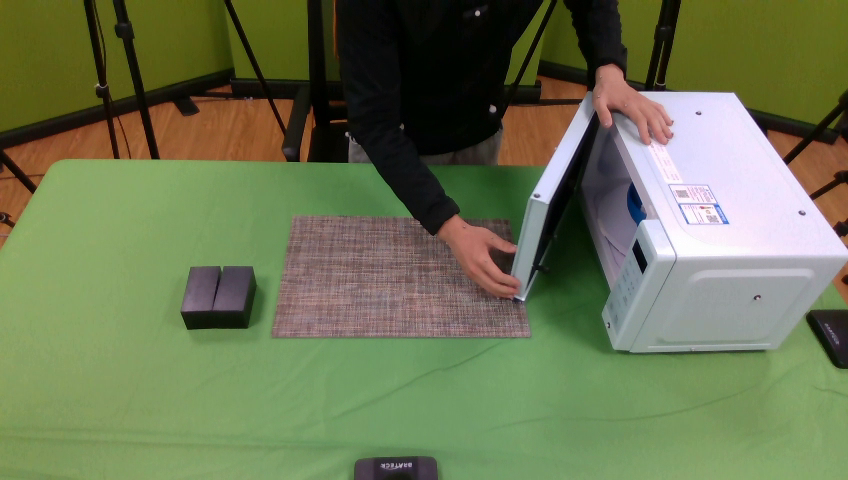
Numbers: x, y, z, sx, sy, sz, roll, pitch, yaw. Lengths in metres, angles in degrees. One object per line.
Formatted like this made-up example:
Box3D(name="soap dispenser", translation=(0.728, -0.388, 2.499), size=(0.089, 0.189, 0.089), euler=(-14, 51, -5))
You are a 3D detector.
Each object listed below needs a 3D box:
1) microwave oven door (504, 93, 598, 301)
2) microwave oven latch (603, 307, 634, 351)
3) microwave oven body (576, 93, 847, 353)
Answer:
Box3D(name="microwave oven door", translation=(0.244, -0.089, 1.131), size=(0.039, 0.245, 0.354), euler=(21, 48, 15))
Box3D(name="microwave oven latch", translation=(0.332, 0.153, 1.044), size=(0.030, 0.029, 0.078), euler=(0, 45, -3))
Box3D(name="microwave oven body", translation=(0.475, -0.041, 1.109), size=(0.326, 0.261, 0.438), euler=(-1, 45, -4))
